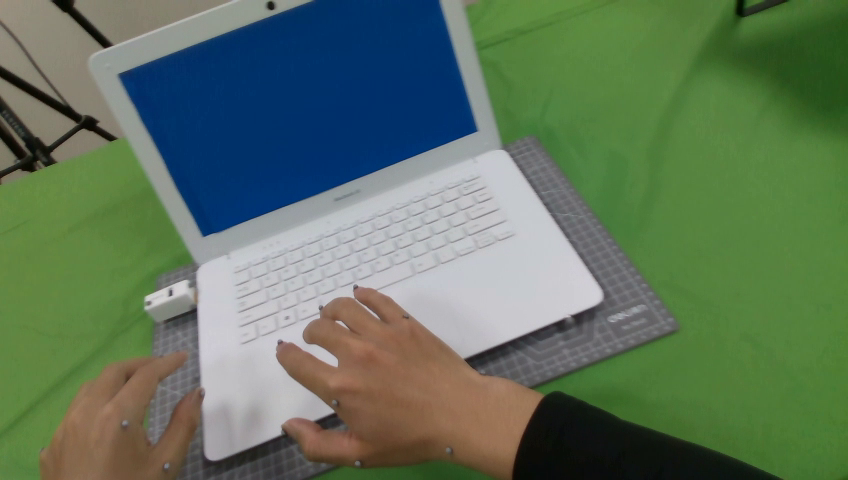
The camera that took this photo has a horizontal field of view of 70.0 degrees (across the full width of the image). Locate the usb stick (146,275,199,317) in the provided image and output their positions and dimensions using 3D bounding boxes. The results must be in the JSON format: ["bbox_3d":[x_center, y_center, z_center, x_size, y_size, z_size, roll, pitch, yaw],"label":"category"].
[{"bbox_3d":[-0.246,0.054,0.612,0.059,0.027,0.021,-19,43,-5],"label":"usb stick"}]

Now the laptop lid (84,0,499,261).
[{"bbox_3d":[-0.116,-0.138,0.611,0.357,0.243,0.013,-23,24,-2],"label":"laptop lid"}]

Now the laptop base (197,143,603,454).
[{"bbox_3d":[-0.043,0.038,0.579,0.354,0.023,0.232,-22,48,-3],"label":"laptop base"}]
